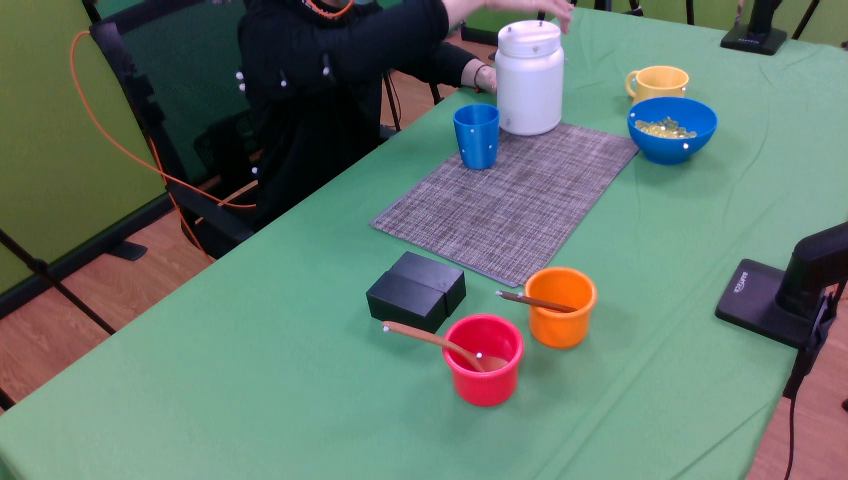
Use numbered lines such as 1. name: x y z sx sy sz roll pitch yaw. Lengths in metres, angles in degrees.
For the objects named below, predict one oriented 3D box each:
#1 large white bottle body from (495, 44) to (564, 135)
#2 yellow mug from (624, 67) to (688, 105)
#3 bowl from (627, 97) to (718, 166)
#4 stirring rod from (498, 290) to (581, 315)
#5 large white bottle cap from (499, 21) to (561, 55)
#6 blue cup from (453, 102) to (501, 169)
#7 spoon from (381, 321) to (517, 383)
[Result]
1. large white bottle body: 0.205 -0.314 1.182 0.130 0.185 0.130 -5 42 5
2. yellow mug: 0.465 -0.305 1.230 0.100 0.064 0.129 -34 46 -27
3. bowl: 0.439 -0.187 1.087 0.151 0.077 0.150 -4 41 4
4. stirring rod: 0.152 0.081 0.771 0.178 0.006 0.014 16 19 -44
5. large white bottle cap: 0.196 -0.377 1.126 0.115 0.018 0.114 -4 41 4
6. blue cup: 0.100 -0.188 1.114 0.092 0.100 0.092 -4 39 4
7. spoon: 0.033 0.131 0.725 0.195 0.021 0.041 29 29 -26
